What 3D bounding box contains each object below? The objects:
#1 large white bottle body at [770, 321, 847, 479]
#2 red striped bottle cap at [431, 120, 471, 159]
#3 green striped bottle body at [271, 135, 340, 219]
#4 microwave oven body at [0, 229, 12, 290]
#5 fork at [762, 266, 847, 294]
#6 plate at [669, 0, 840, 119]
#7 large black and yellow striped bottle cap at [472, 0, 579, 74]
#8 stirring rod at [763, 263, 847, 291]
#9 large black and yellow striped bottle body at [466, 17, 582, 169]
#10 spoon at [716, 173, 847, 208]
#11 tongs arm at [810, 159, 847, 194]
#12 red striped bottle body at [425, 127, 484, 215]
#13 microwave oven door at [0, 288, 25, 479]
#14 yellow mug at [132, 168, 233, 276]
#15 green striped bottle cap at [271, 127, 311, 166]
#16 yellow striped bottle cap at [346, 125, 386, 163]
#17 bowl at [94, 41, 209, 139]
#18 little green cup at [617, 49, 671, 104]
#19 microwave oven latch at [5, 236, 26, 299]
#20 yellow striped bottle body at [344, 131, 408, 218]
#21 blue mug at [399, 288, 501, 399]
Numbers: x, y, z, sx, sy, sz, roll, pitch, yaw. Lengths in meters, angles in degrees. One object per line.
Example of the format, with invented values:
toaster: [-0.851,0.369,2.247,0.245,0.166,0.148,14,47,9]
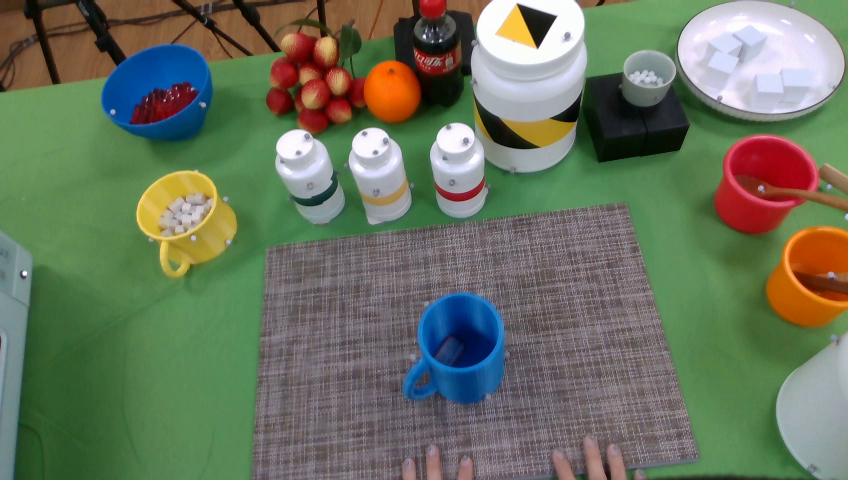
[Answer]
large white bottle body: [0.398,0.133,0.518,0.130,0.186,0.129,-3,61,5]
red striped bottle cap: [0.030,-0.112,0.674,0.044,0.018,0.044,-1,59,2]
green striped bottle body: [-0.145,-0.082,0.737,0.063,0.120,0.062,-3,61,5]
microwave oven body: [-0.618,0.175,0.564,0.326,0.262,0.437,-15,61,-3]
fork: [0.442,0.027,0.593,0.207,0.019,0.028,-21,45,48]
plate: [0.431,-0.239,0.806,0.209,0.038,0.207,-3,61,5]
large black and yellow striped bottle cap: [0.109,-0.228,0.653,0.115,0.019,0.114,-4,62,8]
stirring rod: [0.414,0.044,0.593,0.014,0.006,0.175,-31,20,-15]
large black and yellow striped bottle body: [0.118,-0.187,0.729,0.130,0.185,0.129,-3,61,5]
spoon: [0.389,-0.052,0.646,0.041,0.192,0.022,-23,106,-10]
tongs arm: [0.606,0.015,0.646,0.051,0.027,0.381,-39,65,-18]
red striped bottle body: [0.037,-0.086,0.719,0.063,0.121,0.062,-4,59,8]
microwave oven door: [-0.467,0.169,0.544,0.039,0.246,0.352,-16,60,-2]
yellow mug: [-0.301,-0.017,0.750,0.100,0.064,0.130,2,62,7]
green striped bottle cap: [-0.152,-0.107,0.692,0.044,0.020,0.044,-1,61,3]
yellow striped bottle cap: [-0.065,-0.108,0.682,0.044,0.019,0.044,-1,57,1]
bowl: [-0.365,-0.196,0.850,0.151,0.077,0.150,-2,61,5]
little green cup: [0.267,-0.199,0.744,0.061,0.039,0.061,-2,58,3]
microwave oven latch: [-0.508,0.036,0.739,0.030,0.030,0.078,-14,61,-2]
yellow striped bottle body: [-0.058,-0.083,0.728,0.063,0.121,0.062,-3,60,6]
blue mug: [0.023,0.117,0.612,0.116,0.107,0.081,-35,62,-12]
